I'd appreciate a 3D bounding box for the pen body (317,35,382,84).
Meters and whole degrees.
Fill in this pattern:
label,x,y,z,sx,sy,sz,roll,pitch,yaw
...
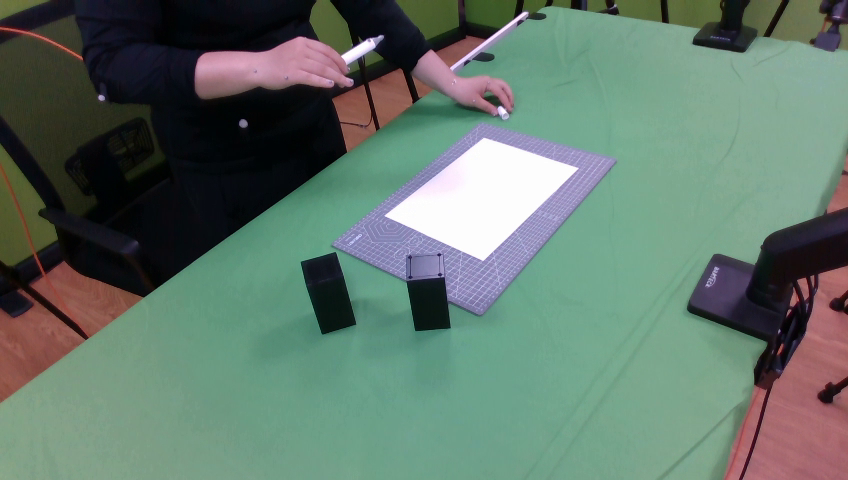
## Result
label,x,y,z,sx,sy,sz,roll,pitch,yaw
pen body,-0.115,-0.290,0.960,0.017,0.017,0.144,26,58,34

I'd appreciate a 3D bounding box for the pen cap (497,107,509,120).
label,x,y,z,sx,sy,sz,roll,pitch,yaw
pen cap,0.164,-0.264,1.261,0.017,0.017,0.038,-13,38,-6
